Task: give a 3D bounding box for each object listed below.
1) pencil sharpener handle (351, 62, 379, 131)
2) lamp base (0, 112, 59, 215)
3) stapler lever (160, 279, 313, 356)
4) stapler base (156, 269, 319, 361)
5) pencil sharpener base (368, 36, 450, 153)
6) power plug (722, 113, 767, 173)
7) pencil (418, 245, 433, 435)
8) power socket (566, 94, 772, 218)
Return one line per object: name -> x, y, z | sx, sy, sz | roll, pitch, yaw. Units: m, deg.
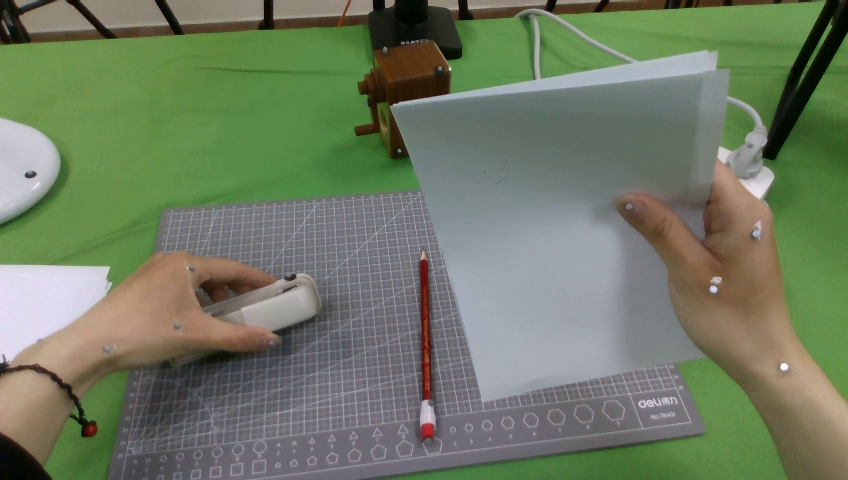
pencil sharpener handle -> -0.065, -0.149, 0.635 | 0.031, 0.068, 0.035 | -14, 29, -13
lamp base -> -0.472, -0.130, 0.572 | 0.160, 0.182, 0.177 | -31, 54, -26
stapler lever -> -0.147, 0.061, 0.481 | 0.118, 0.040, 0.027 | -19, 91, -17
stapler base -> -0.152, 0.061, 0.504 | 0.131, 0.024, 0.041 | -19, 92, -16
pencil sharpener base -> -0.019, -0.156, 0.661 | 0.077, 0.108, 0.060 | -14, 51, -13
power plug -> 0.344, -0.093, 0.636 | 0.072, 0.053, 0.035 | -32, 57, -25
pencil -> 0.000, 0.075, 0.522 | 0.012, 0.012, 0.192 | 0, 47, -1
power socket -> 0.268, -0.098, 0.669 | 0.225, 0.033, 0.072 | 33, 55, 25
